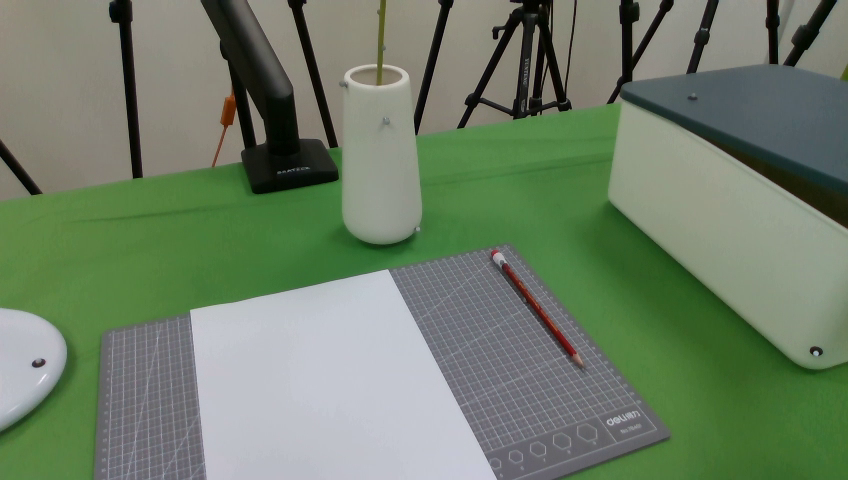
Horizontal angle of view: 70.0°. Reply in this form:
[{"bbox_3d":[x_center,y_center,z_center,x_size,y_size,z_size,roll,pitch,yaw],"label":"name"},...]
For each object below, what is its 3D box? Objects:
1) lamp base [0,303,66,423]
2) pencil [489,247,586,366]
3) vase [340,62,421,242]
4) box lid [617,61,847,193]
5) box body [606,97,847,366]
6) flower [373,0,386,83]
[{"bbox_3d":[-0.416,0.050,0.497,0.177,0.182,0.160,23,41,31],"label":"lamp base"},{"bbox_3d":[0.115,0.064,0.638,0.012,0.012,0.192,-13,39,-18],"label":"pencil"},{"bbox_3d":[-0.053,-0.097,0.698,0.098,0.201,0.097,0,35,1],"label":"vase"},{"bbox_3d":[0.407,-0.127,0.624,0.264,0.015,0.367,-12,31,-16],"label":"box lid"},{"bbox_3d":[0.408,-0.051,0.682,0.255,0.162,0.359,-12,38,-17],"label":"box body"},{"bbox_3d":[-0.050,-0.150,0.632,0.044,0.364,0.038,24,54,8],"label":"flower"}]
